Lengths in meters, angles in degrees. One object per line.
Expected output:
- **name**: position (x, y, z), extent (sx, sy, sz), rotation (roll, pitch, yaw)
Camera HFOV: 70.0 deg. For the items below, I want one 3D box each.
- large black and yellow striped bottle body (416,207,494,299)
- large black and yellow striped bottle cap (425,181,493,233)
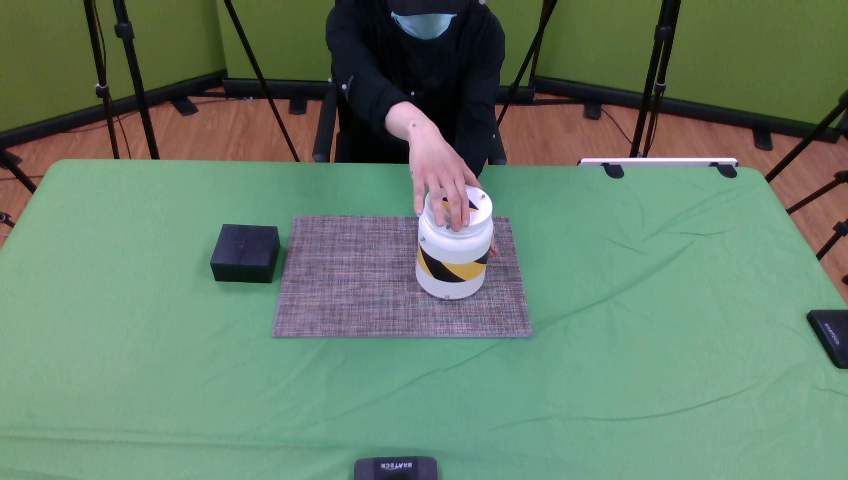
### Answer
- **large black and yellow striped bottle body**: position (0.053, 0.003, 1.078), extent (0.131, 0.185, 0.130), rotation (2, 46, -2)
- **large black and yellow striped bottle cap**: position (0.058, -0.057, 1.015), extent (0.115, 0.019, 0.114), rotation (2, 45, -1)
